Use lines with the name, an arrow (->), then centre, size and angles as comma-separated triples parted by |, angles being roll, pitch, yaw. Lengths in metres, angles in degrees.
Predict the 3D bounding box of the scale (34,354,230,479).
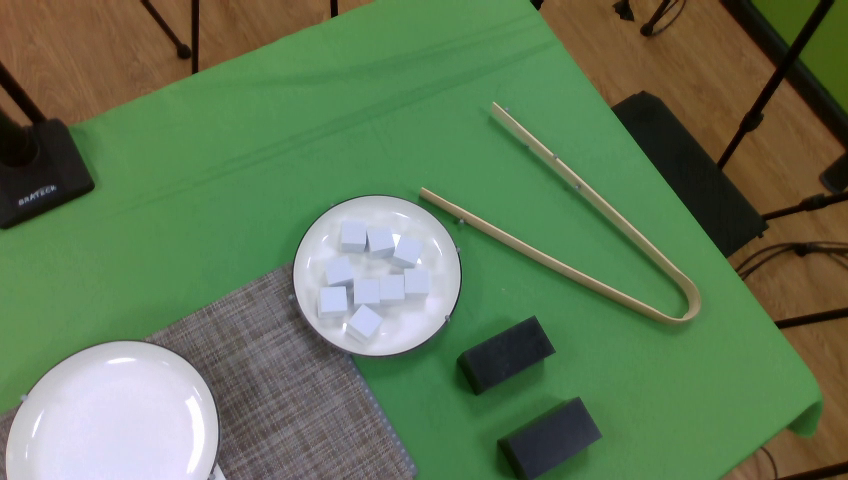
scale -> -0.310, 0.238, 0.652 | 0.149, 0.032, 0.200 | -29, 77, -15

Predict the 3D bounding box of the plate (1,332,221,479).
plate -> -0.317, 0.201, 0.629 | 0.209, 0.038, 0.207 | 2, 71, -6

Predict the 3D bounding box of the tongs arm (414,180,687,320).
tongs arm -> 0.160, 0.014, 0.793 | 0.387, 0.028, 0.028 | 28, 68, 3

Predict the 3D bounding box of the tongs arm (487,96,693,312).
tongs arm -> 0.214, -0.052, 0.817 | 0.383, 0.026, 0.050 | 43, 73, 7

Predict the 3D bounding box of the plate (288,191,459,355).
plate -> -0.061, 0.041, 0.752 | 0.208, 0.039, 0.206 | 2, 71, -6
